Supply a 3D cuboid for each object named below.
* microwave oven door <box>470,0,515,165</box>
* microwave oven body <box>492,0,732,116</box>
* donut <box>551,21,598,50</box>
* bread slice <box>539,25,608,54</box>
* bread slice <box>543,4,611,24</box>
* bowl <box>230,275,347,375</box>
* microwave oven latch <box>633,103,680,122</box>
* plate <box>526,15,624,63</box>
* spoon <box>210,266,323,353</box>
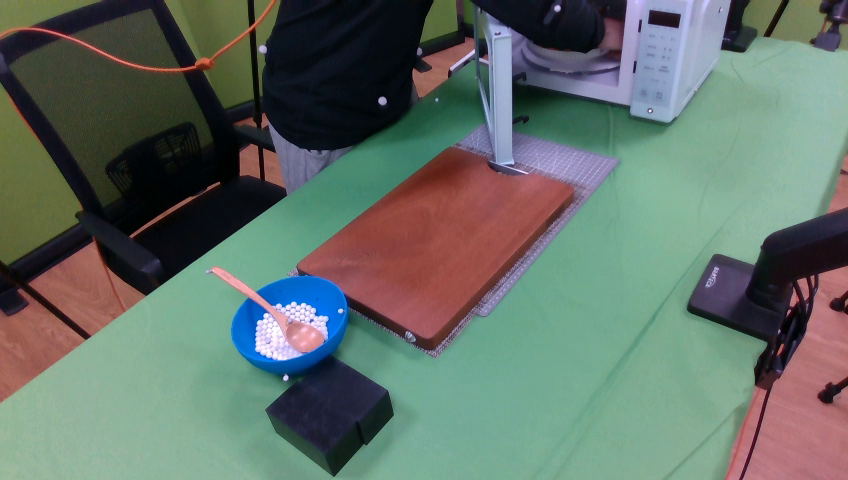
[{"bbox_3d":[0.127,-0.341,1.153,0.039,0.245,0.354,-7,41,2],"label":"microwave oven door"},{"bbox_3d":[0.377,-0.462,1.267,0.438,0.261,0.327,21,49,30],"label":"microwave oven body"},{"bbox_3d":[0.321,-0.440,1.292,0.099,0.048,0.098,-3,45,3],"label":"donut"},{"bbox_3d":[0.335,-0.448,1.329,0.132,0.019,0.104,-21,41,-17],"label":"bread slice"},{"bbox_3d":[0.328,-0.479,1.276,0.106,0.018,0.135,23,38,35],"label":"bread slice"},{"bbox_3d":[-0.170,0.125,0.802,0.151,0.077,0.150,-4,40,4],"label":"bowl"},{"bbox_3d":[0.443,-0.249,1.157,0.078,0.029,0.030,21,49,30],"label":"microwave oven latch"},{"bbox_3d":[0.330,-0.441,1.325,0.207,0.039,0.206,-5,44,6],"label":"plate"},{"bbox_3d":[-0.213,0.088,0.806,0.193,0.021,0.042,37,55,12],"label":"spoon"}]
